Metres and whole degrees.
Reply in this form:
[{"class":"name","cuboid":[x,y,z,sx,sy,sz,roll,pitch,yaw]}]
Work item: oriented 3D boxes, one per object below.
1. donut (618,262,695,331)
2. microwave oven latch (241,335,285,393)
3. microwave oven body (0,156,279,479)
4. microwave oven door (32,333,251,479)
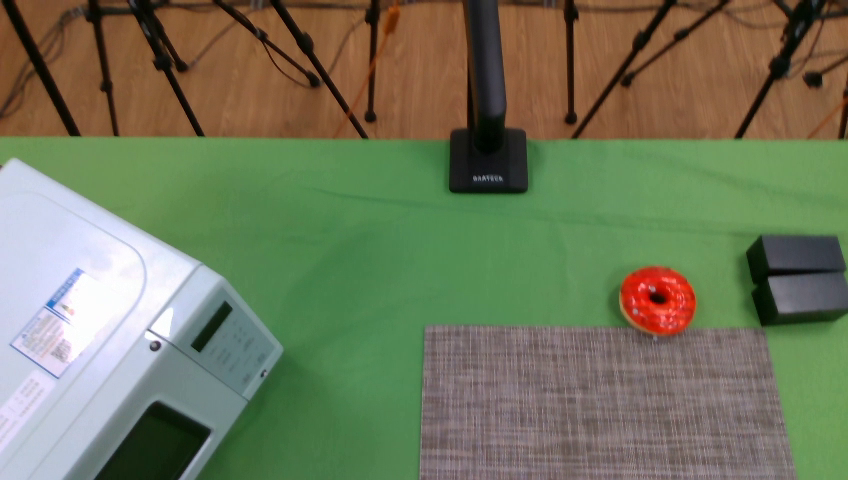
[{"class":"donut","cuboid":[0.308,0.075,0.806,0.099,0.048,0.098,-3,60,6]},{"class":"microwave oven latch","cuboid":[-0.212,0.155,0.778,0.030,0.030,0.079,28,69,16]},{"class":"microwave oven body","cuboid":[-0.434,0.187,0.665,0.324,0.262,0.440,26,68,15]},{"class":"microwave oven door","cuboid":[-0.329,0.279,0.607,0.039,0.246,0.354,26,67,16]}]
